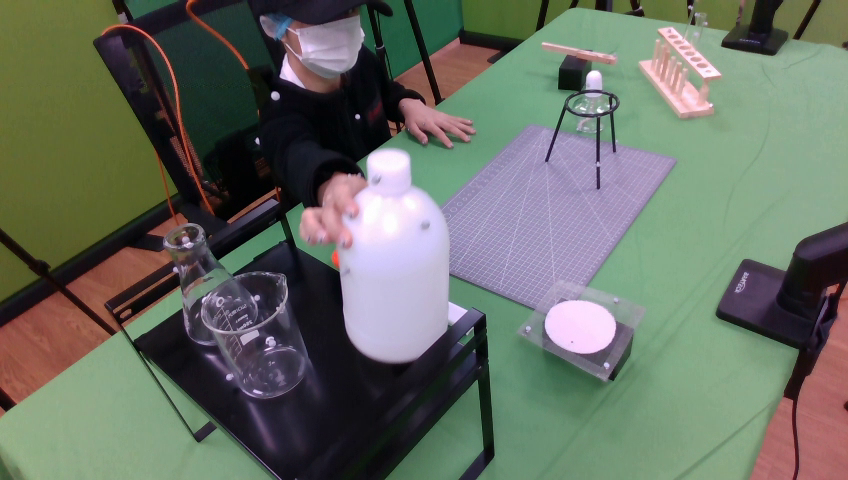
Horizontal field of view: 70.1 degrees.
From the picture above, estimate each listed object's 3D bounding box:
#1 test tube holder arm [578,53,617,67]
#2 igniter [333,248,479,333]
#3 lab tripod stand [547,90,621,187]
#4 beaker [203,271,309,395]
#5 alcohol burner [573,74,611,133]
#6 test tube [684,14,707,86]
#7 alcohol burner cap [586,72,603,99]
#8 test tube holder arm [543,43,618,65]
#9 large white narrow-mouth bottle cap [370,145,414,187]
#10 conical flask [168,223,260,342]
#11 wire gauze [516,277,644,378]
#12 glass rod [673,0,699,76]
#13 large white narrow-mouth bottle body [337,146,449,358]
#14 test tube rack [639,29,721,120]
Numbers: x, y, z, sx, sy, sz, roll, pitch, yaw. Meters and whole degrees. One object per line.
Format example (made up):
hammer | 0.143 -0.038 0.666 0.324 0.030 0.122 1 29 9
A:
test tube holder arm | 0.376 -0.393 1.314 0.087 0.015 0.010 26 51 32
igniter | -0.038 0.067 0.905 0.274 0.025 0.057 24 60 32
lab tripod stand | 0.289 -0.184 1.062 0.148 0.132 0.147 -6 41 6
beaker | -0.150 0.088 0.564 0.073 0.100 0.084 21 47 29
alcohol burner | 0.330 -0.270 1.177 0.078 0.119 0.077 -4 43 4
test tube | 0.541 -0.379 1.216 0.017 0.151 0.017 -2 44 2
alcohol burner cap | 0.325 -0.297 1.154 0.034 0.048 0.033 -8 35 6
test tube holder arm | 0.345 -0.413 1.341 0.177 0.015 0.013 25 50 31
large white narrow-mouth bottle cap | -0.026 -0.062 0.500 0.038 0.024 0.037 1 35 0
conical flask | -0.219 0.040 0.614 0.075 0.122 0.075 -5 40 4
wire gauze | 0.197 0.103 0.765 0.124 0.011 0.122 23 50 31
glass rod | 0.541 -0.427 1.246 0.008 0.200 0.008 -1 48 1
large white narrow-mouth bottle body | -0.028 0.008 0.550 0.102 0.195 0.101 1 35 0
test tube rack | 0.527 -0.351 1.262 0.067 0.085 0.241 -8 40 1
